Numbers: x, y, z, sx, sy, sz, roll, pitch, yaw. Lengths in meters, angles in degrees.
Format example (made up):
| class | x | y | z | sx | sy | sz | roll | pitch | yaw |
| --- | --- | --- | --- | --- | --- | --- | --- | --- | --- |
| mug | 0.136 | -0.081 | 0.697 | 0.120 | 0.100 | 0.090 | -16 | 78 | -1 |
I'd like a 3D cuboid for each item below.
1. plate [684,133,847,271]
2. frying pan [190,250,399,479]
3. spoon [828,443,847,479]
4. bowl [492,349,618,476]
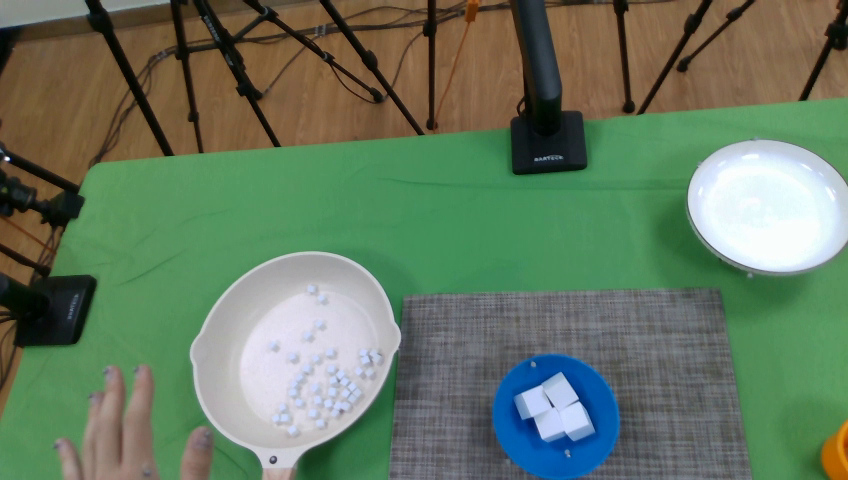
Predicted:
| class | x | y | z | sx | sy | sz | roll | pitch | yaw |
| --- | --- | --- | --- | --- | --- | --- | --- | --- | --- |
| plate | 0.460 | -0.049 | 0.819 | 0.207 | 0.039 | 0.206 | -4 | 63 | 9 |
| frying pan | -0.184 | 0.240 | 0.813 | 0.306 | 0.104 | 0.483 | -4 | 53 | 10 |
| spoon | 0.538 | 0.222 | 0.653 | 0.022 | 0.194 | 0.041 | 10 | 55 | -33 |
| bowl | 0.163 | 0.223 | 0.762 | 0.151 | 0.077 | 0.150 | -5 | 62 | 9 |
